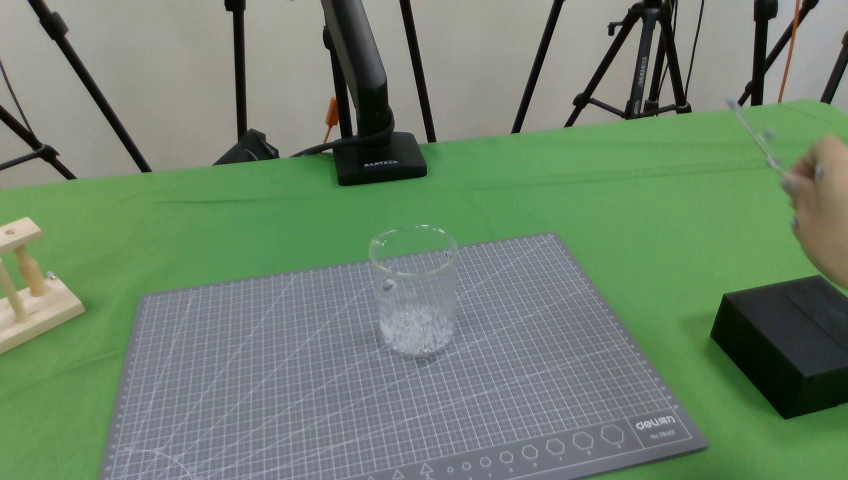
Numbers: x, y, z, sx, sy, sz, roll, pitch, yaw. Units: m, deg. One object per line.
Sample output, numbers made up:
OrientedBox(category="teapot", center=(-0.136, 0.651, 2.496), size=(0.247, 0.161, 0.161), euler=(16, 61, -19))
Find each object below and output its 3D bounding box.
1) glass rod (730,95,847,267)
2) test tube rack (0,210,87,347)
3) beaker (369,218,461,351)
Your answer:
OrientedBox(category="glass rod", center=(0.274, -0.021, 0.425), size=(0.008, 0.008, 0.200), euler=(-37, 91, -38))
OrientedBox(category="test tube rack", center=(-0.440, 0.070, 0.522), size=(0.066, 0.086, 0.242), euler=(28, 45, 34))
OrientedBox(category="beaker", center=(-0.010, 0.041, 0.535), size=(0.083, 0.101, 0.074), euler=(24, 43, 31))
